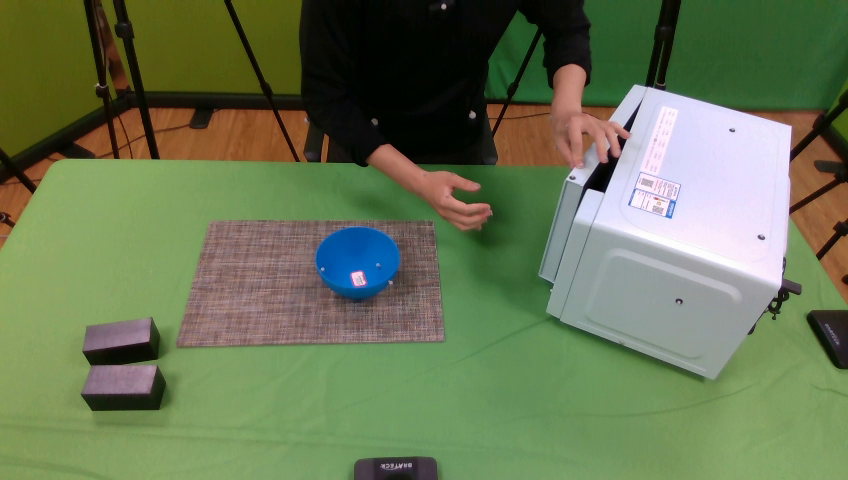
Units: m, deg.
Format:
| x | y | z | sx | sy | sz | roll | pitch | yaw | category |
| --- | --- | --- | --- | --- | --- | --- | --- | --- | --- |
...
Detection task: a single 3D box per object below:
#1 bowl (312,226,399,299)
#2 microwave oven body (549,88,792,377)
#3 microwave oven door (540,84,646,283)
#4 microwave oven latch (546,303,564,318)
| x | y | z | sx | sy | sz | roll | pitch | yaw | category |
| --- | --- | --- | --- | --- | --- | --- | --- | --- | --- |
| -0.120 | 0.054 | 1.091 | 0.151 | 0.077 | 0.150 | 2 | 46 | -2 | bowl |
| 0.456 | -0.028 | 1.088 | 0.325 | 0.261 | 0.440 | 20 | 47 | 16 | microwave oven body |
| 0.327 | -0.115 | 1.154 | 0.039 | 0.245 | 0.355 | 25 | 50 | 20 | microwave oven door |
| 0.242 | 0.102 | 1.081 | 0.030 | 0.029 | 0.079 | 22 | 48 | 17 | microwave oven latch |
